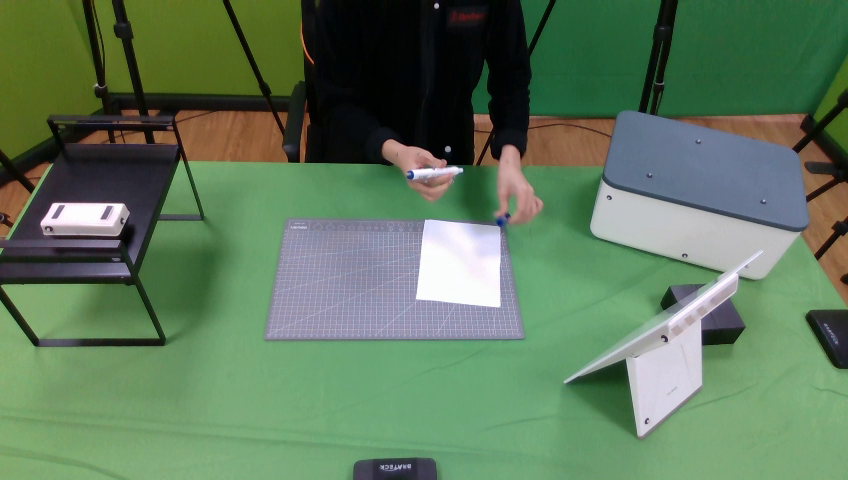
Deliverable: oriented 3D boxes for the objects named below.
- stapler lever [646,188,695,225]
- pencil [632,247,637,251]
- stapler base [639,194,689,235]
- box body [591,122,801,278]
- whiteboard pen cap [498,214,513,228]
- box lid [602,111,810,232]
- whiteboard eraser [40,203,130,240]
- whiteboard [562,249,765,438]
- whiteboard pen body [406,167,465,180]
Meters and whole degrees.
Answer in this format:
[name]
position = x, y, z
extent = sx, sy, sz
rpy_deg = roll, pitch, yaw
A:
[stapler lever]
position = 0.516, -0.078, 1.265
extent = 0.027, 0.040, 0.117
rpy_deg = 0, 41, -31
[pencil]
position = 0.431, -0.060, 1.284
extent = 0.012, 0.012, 0.193
rpy_deg = 3, 56, -2
[stapler base]
position = 0.510, -0.059, 1.278
extent = 0.041, 0.024, 0.129
rpy_deg = 1, 39, -31
[box body]
position = 0.540, -0.092, 1.230
extent = 0.363, 0.161, 0.253
rpy_deg = 16, 47, 11
[whiteboard pen cap]
position = 0.157, -0.037, 1.177
extent = 0.018, 0.018, 0.033
rpy_deg = 34, 42, 25
[box lid]
position = 0.545, -0.143, 1.176
extent = 0.371, 0.015, 0.262
rpy_deg = 15, 47, 11
[whiteboard eraser]
position = -0.513, -0.028, 0.922
extent = 0.113, 0.042, 0.055
rpy_deg = 1, 48, -3
[whiteboard]
position = 0.386, 0.175, 0.905
extent = 0.217, 0.306, 0.143
rpy_deg = -26, 72, -26
[whiteboard pen body]
position = 0.023, -0.116, 1.043
extent = 0.141, 0.017, 0.017
rpy_deg = -11, 44, -44
